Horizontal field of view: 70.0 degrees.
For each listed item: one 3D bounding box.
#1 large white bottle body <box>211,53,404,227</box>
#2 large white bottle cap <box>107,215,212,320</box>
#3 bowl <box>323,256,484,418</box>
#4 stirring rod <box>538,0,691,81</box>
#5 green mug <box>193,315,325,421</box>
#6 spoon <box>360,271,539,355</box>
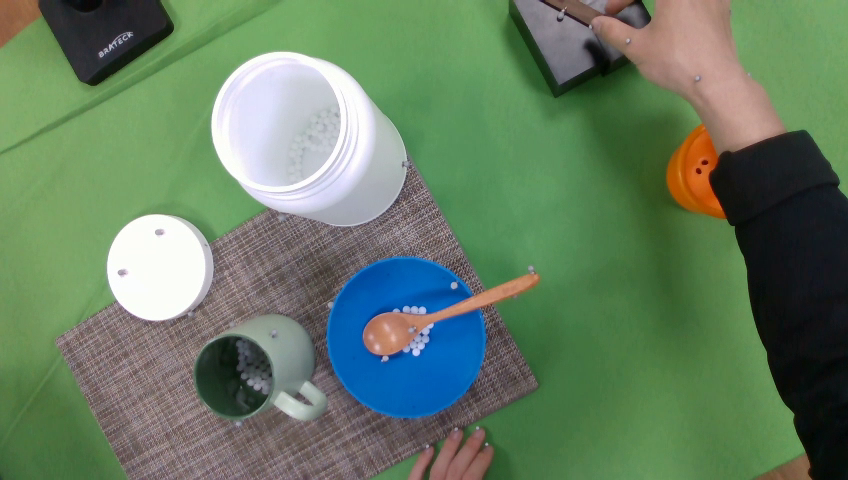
[{"bbox_3d":[-0.097,-0.083,0.546,0.130,0.185,0.130,0,87,9],"label":"large white bottle body"},{"bbox_3d":[-0.286,0.030,0.655,0.114,0.018,0.114,0,90,7],"label":"large white bottle cap"},{"bbox_3d":[-0.015,0.090,0.593,0.151,0.077,0.151,0,91,8],"label":"bowl"},{"bbox_3d":[0.164,-0.194,0.553,0.176,0.006,0.014,31,127,5],"label":"stirring rod"},{"bbox_3d":[-0.152,0.133,0.597,0.125,0.105,0.092,34,94,6],"label":"green mug"},{"bbox_3d":[0.019,0.068,0.559,0.193,0.022,0.041,-23,90,31],"label":"spoon"}]
